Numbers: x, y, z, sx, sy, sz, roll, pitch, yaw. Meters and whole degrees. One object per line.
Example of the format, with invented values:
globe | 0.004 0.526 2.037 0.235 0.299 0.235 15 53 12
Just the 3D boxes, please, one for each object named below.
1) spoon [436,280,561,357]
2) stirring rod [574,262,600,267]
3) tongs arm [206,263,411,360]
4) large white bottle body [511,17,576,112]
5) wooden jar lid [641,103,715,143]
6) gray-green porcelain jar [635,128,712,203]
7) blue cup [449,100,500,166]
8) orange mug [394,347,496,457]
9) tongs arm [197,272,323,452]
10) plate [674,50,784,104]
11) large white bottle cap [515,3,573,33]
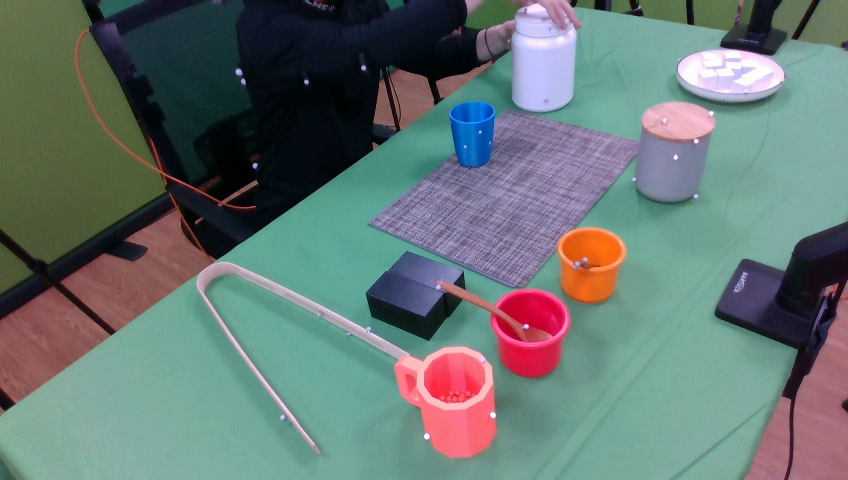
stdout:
spoon | 0.096 0.095 0.757 0.195 0.021 0.041 34 41 -20
stirring rod | 0.222 0.033 0.816 0.014 0.006 0.177 7 0 22
tongs arm | -0.179 0.107 0.870 0.381 0.026 0.051 23 53 32
large white bottle body | 0.247 -0.376 1.252 0.130 0.185 0.130 -5 41 4
wooden jar lid | 0.398 -0.180 0.952 0.108 0.021 0.108 -4 43 4
gray-green porcelain jar | 0.404 -0.133 0.992 0.106 0.127 0.105 -4 40 4
blue cup | 0.092 -0.194 1.123 0.092 0.100 0.092 -3 40 3
orange mug | 0.024 0.181 0.703 0.125 0.101 0.083 21 48 23
tongs arm | -0.236 0.153 0.829 0.028 0.028 0.384 -36 47 -19
plate | 0.631 -0.336 1.262 0.207 0.039 0.206 -4 41 4
large white bottle cap | 0.237 -0.440 1.198 0.115 0.018 0.114 -4 41 4
